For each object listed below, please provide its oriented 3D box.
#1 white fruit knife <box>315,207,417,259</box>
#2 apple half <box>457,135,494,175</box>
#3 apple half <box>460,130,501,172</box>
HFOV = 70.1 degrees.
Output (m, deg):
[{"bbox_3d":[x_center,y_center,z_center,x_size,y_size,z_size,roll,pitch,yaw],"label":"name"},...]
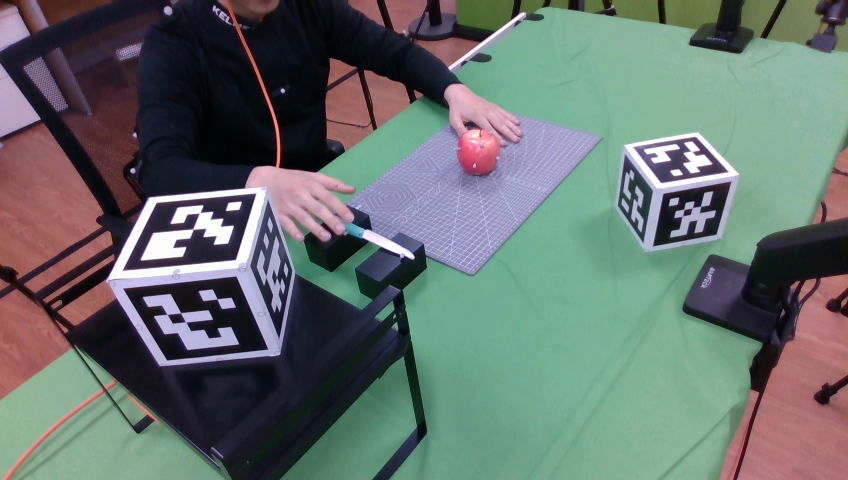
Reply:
[{"bbox_3d":[-0.093,-0.010,0.925,0.206,0.016,0.027,23,39,29],"label":"white fruit knife"},{"bbox_3d":[0.086,-0.145,1.083,0.080,0.081,0.033,22,44,30],"label":"apple half"},{"bbox_3d":[0.109,-0.166,1.106,0.080,0.075,0.053,18,42,33],"label":"apple half"}]
